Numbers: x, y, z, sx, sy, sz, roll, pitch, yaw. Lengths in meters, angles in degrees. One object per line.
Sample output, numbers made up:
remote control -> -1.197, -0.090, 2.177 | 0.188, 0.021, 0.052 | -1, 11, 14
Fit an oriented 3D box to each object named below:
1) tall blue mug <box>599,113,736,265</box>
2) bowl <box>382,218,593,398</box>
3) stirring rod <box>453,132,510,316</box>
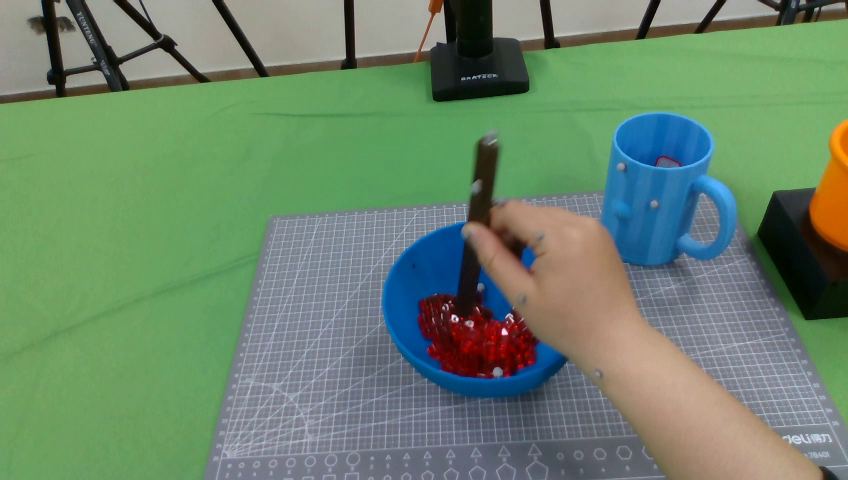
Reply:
tall blue mug -> 0.208, -0.037, 0.511 | 0.106, 0.109, 0.077 | 17, 50, 22
bowl -> 0.048, 0.063, 0.457 | 0.151, 0.077, 0.150 | -3, 46, 4
stirring rod -> 0.034, 0.000, 0.387 | 0.014, 0.177, 0.006 | 19, 52, 11
